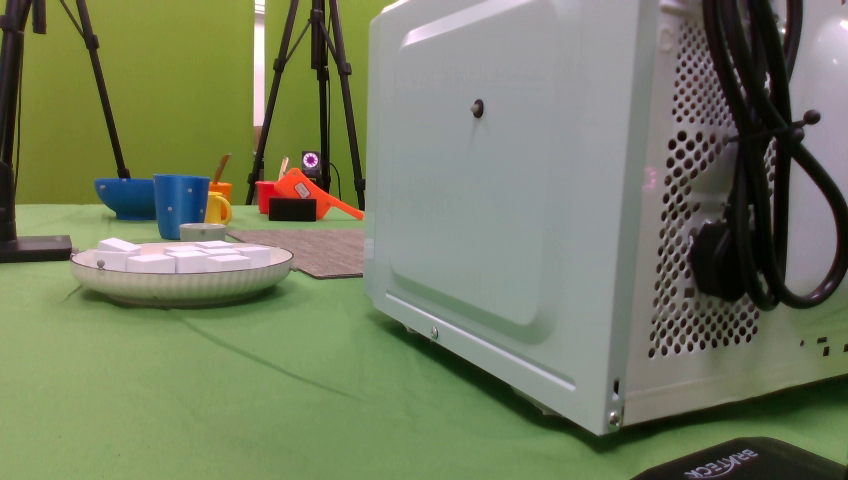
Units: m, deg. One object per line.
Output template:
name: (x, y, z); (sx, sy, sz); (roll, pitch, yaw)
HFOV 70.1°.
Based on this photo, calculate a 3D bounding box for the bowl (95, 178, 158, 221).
bowl: (-0.576, -0.081, 1.217); (0.151, 0.077, 0.151); (3, 7, 0)

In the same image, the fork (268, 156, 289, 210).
fork: (-0.360, -0.144, 1.508); (0.028, 0.018, 0.207); (1, 49, 0)

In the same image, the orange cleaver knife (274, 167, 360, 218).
orange cleaver knife: (-0.238, -0.091, 1.381); (0.212, 0.077, 0.012); (31, 0, -19)

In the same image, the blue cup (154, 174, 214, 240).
blue cup: (-0.390, -0.053, 0.977); (0.093, 0.100, 0.092); (3, 6, 0)

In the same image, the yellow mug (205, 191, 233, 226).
yellow mug: (-0.415, -0.057, 1.131); (0.130, 0.064, 0.100); (6, 8, 16)

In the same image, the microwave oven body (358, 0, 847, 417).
microwave oven body: (0.211, -0.047, 0.474); (0.444, 0.260, 0.324); (-1, 7, -28)

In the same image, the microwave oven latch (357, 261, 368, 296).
microwave oven latch: (-0.019, 0.033, 0.531); (0.079, 0.029, 0.030); (-1, 8, -29)

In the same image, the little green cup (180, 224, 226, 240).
little green cup: (-0.308, -0.001, 0.846); (0.061, 0.038, 0.061); (2, 8, 0)

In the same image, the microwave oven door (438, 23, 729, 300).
microwave oven door: (0.181, -0.072, 0.620); (0.358, 0.243, 0.039); (-2, 8, -29)

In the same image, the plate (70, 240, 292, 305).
plate: (-0.242, 0.031, 0.618); (0.208, 0.039, 0.207); (2, 8, 0)

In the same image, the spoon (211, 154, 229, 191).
spoon: (-0.431, -0.115, 1.253); (0.042, 0.193, 0.021); (-3, 54, -33)
